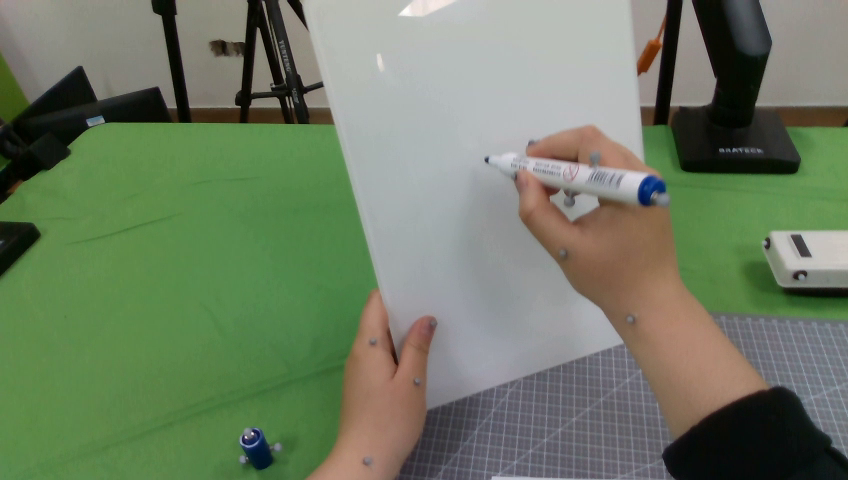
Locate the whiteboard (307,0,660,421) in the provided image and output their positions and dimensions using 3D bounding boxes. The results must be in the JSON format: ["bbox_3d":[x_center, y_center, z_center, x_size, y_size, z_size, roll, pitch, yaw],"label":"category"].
[{"bbox_3d":[0.047,-0.051,0.491,0.217,0.307,0.142,-16,20,-9],"label":"whiteboard"}]

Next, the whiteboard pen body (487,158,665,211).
[{"bbox_3d":[0.077,-0.035,0.348,0.017,0.017,0.139,-27,25,-22],"label":"whiteboard pen body"}]

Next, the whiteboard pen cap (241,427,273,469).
[{"bbox_3d":[-0.121,0.152,0.441,0.018,0.033,0.018,-3,40,3],"label":"whiteboard pen cap"}]

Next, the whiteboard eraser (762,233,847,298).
[{"bbox_3d":[0.357,0.022,0.517,0.112,0.042,0.055,1,43,9],"label":"whiteboard eraser"}]
